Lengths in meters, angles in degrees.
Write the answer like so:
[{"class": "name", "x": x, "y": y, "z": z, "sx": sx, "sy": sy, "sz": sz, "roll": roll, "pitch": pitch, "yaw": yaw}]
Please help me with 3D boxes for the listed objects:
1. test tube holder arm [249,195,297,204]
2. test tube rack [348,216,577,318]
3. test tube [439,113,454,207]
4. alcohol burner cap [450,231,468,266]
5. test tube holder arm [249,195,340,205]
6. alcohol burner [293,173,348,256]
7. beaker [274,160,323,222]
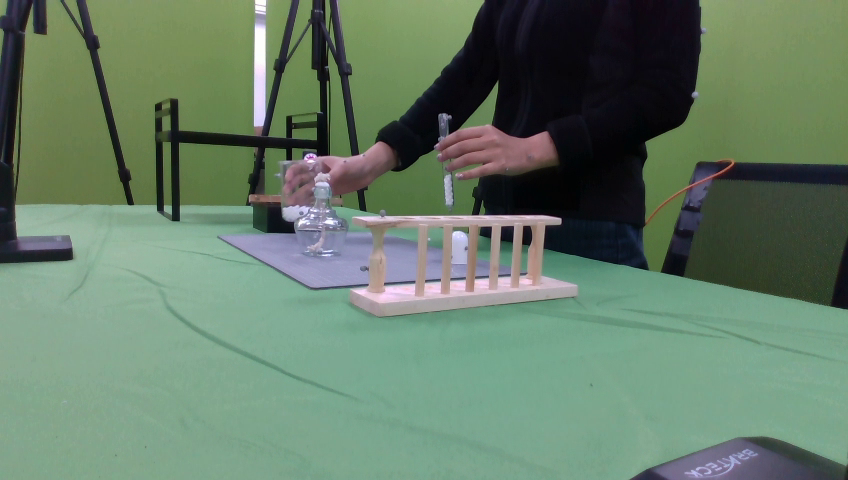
[{"class": "test tube holder arm", "x": -0.284, "y": -0.076, "z": 1.141, "sx": 0.088, "sy": 0.015, "sz": 0.010, "roll": 0, "pitch": 9, "yaw": -29}, {"class": "test tube rack", "x": 0.048, "y": 0.021, "z": 0.619, "sx": 0.244, "sy": 0.085, "sz": 0.066, "roll": -2, "pitch": 8, "yaw": -31}, {"class": "test tube", "x": 0.035, "y": -0.127, "z": 0.957, "sx": 0.017, "sy": 0.150, "sz": 0.017, "roll": -4, "pitch": -1, "yaw": 0}, {"class": "alcohol burner cap", "x": 0.046, "y": 0.012, "z": 0.839, "sx": 0.034, "sy": 0.048, "sz": 0.034, "roll": 3, "pitch": 6, "yaw": 0}, {"class": "test tube holder arm", "x": -0.247, "y": -0.077, "z": 1.169, "sx": 0.179, "sy": 0.015, "sz": 0.013, "roll": 0, "pitch": 9, "yaw": -31}, {"class": "alcohol burner", "x": -0.147, "y": -0.036, "z": 0.859, "sx": 0.078, "sy": 0.119, "sz": 0.078, "roll": 4, "pitch": 8, "yaw": 0}, {"class": "beaker", "x": -0.207, "y": -0.083, "z": 1.012, "sx": 0.074, "sy": 0.100, "sz": 0.083, "roll": -9, "pitch": 12, "yaw": -33}]
